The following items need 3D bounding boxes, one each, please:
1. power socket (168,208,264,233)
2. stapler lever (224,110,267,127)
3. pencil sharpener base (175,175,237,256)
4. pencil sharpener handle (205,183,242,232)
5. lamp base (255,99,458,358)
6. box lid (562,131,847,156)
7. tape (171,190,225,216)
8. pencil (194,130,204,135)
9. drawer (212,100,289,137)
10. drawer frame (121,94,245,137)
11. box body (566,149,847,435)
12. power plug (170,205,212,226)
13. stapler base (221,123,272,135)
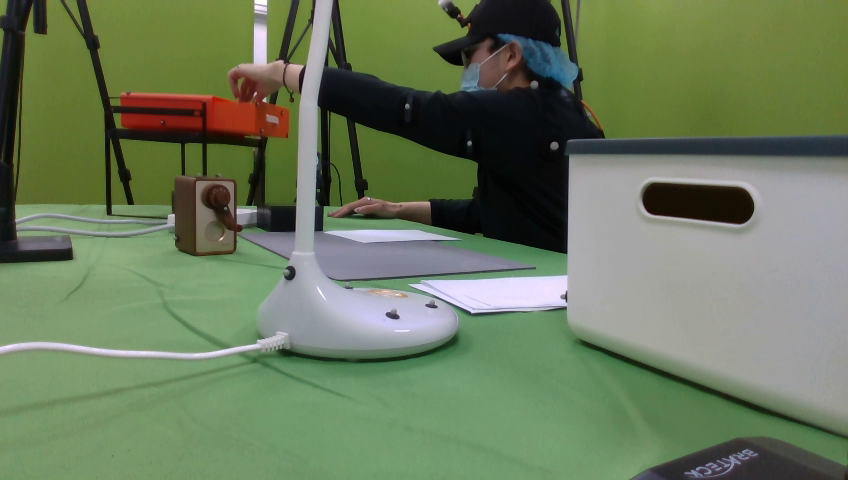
[{"bbox_3d":[-0.381,-0.038,1.129,0.072,0.032,0.227,4,8,17],"label":"power socket"},{"bbox_3d":[-0.396,-0.273,1.348,0.027,0.040,0.118,-1,7,24],"label":"stapler lever"},{"bbox_3d":[-0.305,-0.036,0.847,0.062,0.107,0.076,-4,10,-42],"label":"pencil sharpener base"},{"bbox_3d":[-0.265,-0.043,0.813,0.036,0.068,0.030,-32,28,-35],"label":"pencil sharpener handle"},{"bbox_3d":[-0.056,-0.013,0.462,0.160,0.180,0.180,6,11,27],"label":"lamp base"},{"bbox_3d":[0.322,-0.064,0.463,0.373,0.015,0.262,-2,9,-31],"label":"box lid"},{"bbox_3d":[-0.517,-0.086,1.389,0.117,0.052,0.117,4,7,0],"label":"tape"},{"bbox_3d":[-0.427,-0.252,1.351,0.012,0.012,0.195,8,20,37],"label":"pencil"},{"bbox_3d":[-0.436,-0.274,1.366,0.211,0.073,0.194,3,8,8],"label":"drawer"},{"bbox_3d":[-0.529,-0.281,1.376,0.213,0.082,0.202,3,8,7],"label":"drawer frame"},{"bbox_3d":[0.317,0.009,0.471,0.366,0.160,0.253,-2,8,-31],"label":"box body"},{"bbox_3d":[-0.455,-0.041,1.196,0.052,0.035,0.072,1,43,24],"label":"power plug"},{"bbox_3d":[-0.395,-0.249,1.352,0.041,0.024,0.131,-1,8,24],"label":"stapler base"}]
